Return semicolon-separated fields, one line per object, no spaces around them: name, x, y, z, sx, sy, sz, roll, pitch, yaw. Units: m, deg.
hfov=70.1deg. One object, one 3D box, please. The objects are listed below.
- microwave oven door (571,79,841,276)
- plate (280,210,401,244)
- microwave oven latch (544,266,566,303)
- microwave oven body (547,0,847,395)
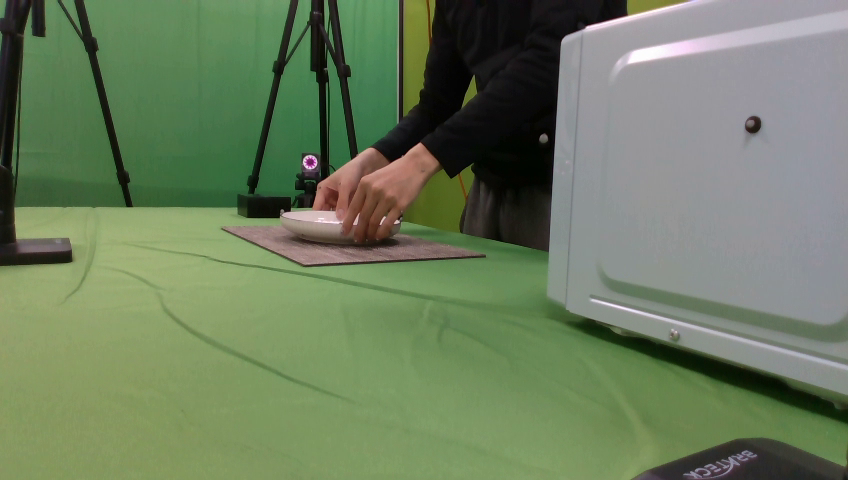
microwave oven door;0.375;-0.093;0.866;0.039;0.243;0.354;-4;9;-42
plate;-0.145;-0.023;1.056;0.209;0.038;0.209;4;8;0
microwave oven latch;0.147;0.039;0.555;0.079;0.029;0.030;-1;7;-28
microwave oven body;0.378;-0.046;0.510;0.444;0.260;0.324;-2;7;-31
